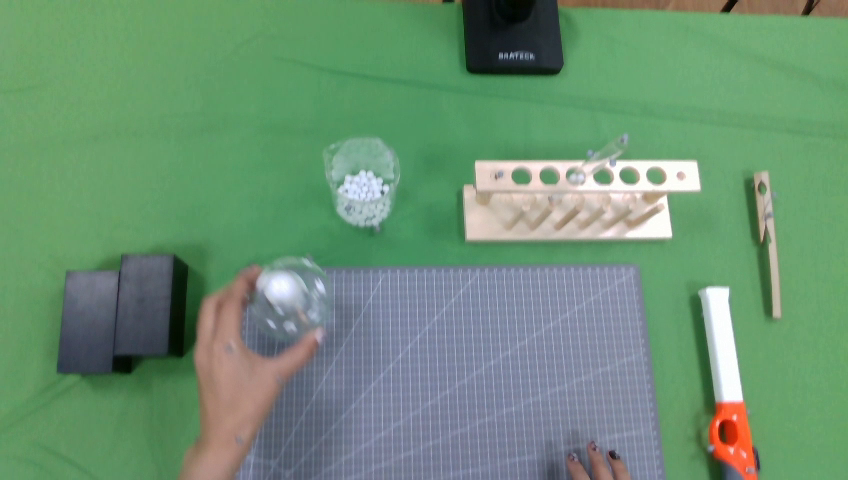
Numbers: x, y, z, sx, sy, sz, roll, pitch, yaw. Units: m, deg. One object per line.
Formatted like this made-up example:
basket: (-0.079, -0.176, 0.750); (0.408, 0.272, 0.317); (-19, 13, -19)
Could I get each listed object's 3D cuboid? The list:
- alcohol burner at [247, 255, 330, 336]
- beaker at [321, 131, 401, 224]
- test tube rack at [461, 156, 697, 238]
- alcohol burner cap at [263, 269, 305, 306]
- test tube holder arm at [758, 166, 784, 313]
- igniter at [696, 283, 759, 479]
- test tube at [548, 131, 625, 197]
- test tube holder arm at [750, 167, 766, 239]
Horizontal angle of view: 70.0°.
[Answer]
alcohol burner: (-0.127, 0.049, 0.561); (0.078, 0.119, 0.077); (2, 76, -6)
beaker: (-0.069, -0.063, 0.644); (0.084, 0.100, 0.074); (27, 74, 2)
test tube rack: (0.168, -0.046, 0.673); (0.243, 0.085, 0.066); (-1, 76, -6)
alcohol burner cap: (-0.123, 0.041, 0.526); (0.034, 0.048, 0.034); (0, 84, -3)
test tube holder arm: (0.412, -0.002, 0.721); (0.013, 0.015, 0.177); (-9, 74, 28)
igniter: (0.332, 0.184, 0.664); (0.057, 0.025, 0.275); (3, 76, -16)
test tube: (0.163, -0.075, 0.628); (0.017, 0.150, 0.017); (3, 74, -12)
test tube holder arm: (0.406, -0.045, 0.734); (0.010, 0.015, 0.087); (-7, 75, 28)
